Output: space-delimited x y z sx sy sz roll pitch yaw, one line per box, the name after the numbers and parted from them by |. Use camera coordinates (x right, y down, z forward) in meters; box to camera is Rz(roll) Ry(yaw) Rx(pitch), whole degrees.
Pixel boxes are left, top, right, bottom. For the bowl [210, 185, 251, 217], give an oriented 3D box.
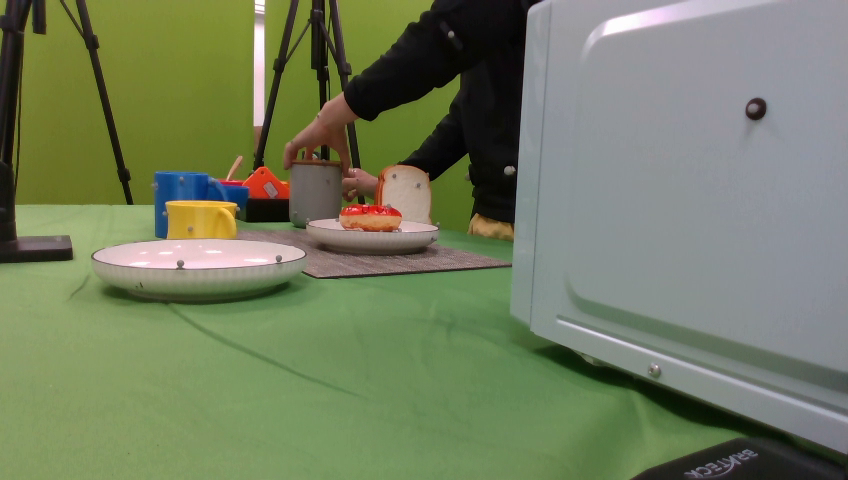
-0.408 -0.064 1.155 0.151 0.077 0.151 2 8 0 | bowl

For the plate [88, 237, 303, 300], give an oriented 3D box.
-0.233 0.029 0.637 0.208 0.039 0.207 2 7 0 | plate

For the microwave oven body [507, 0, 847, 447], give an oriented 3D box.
0.331 -0.042 0.425 0.444 0.260 0.324 -2 8 -31 | microwave oven body

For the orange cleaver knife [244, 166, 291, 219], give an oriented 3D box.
-0.301 -0.089 1.351 0.212 0.077 0.012 32 -11 -34 | orange cleaver knife

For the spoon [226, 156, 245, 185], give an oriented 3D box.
-0.477 -0.145 1.492 0.041 0.022 0.193 -1 51 13 | spoon

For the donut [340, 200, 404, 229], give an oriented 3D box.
-0.081 -0.038 0.945 0.099 0.048 0.099 1 5 0 | donut

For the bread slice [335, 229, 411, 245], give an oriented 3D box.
-0.074 -0.005 0.938 0.105 0.019 0.131 -1 4 -19 | bread slice

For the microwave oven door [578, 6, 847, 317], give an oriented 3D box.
0.294 -0.067 0.570 0.358 0.243 0.039 -3 9 -31 | microwave oven door

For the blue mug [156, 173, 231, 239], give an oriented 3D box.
-0.381 -0.057 1.004 0.117 0.106 0.082 0 8 -12 | blue mug

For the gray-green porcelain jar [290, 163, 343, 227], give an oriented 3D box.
-0.217 -0.091 1.221 0.106 0.126 0.106 2 7 0 | gray-green porcelain jar

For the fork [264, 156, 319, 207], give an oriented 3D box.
-0.331 -0.144 1.506 0.207 0.018 0.028 -42 -20 22 | fork

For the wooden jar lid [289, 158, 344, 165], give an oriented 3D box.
-0.215 -0.152 1.212 0.108 0.020 0.108 2 5 0 | wooden jar lid

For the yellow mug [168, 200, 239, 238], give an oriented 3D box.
-0.320 -0.023 0.904 0.130 0.064 0.100 9 11 36 | yellow mug

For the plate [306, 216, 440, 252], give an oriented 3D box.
-0.079 -0.011 0.950 0.209 0.038 0.209 2 8 0 | plate

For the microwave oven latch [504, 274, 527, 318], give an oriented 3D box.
0.100 0.041 0.471 0.079 0.029 0.030 -1 8 -28 | microwave oven latch

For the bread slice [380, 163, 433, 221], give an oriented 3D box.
-0.035 -0.076 1.125 0.107 0.134 0.018 -4 2 -25 | bread slice
